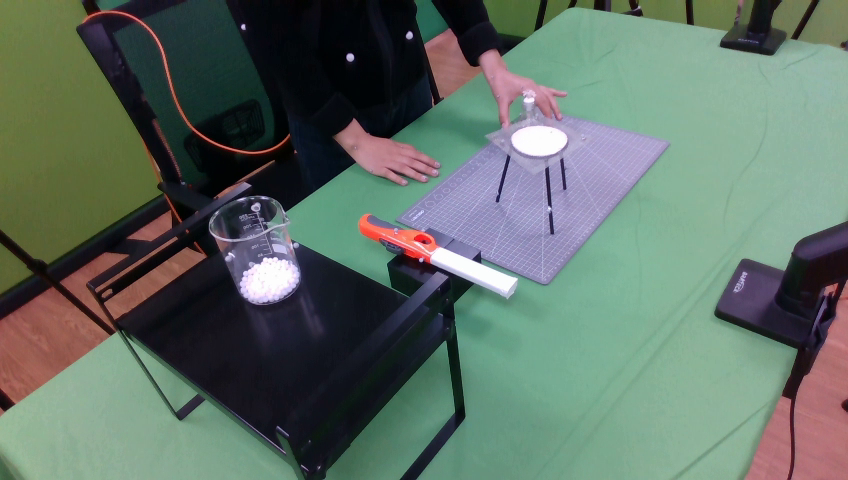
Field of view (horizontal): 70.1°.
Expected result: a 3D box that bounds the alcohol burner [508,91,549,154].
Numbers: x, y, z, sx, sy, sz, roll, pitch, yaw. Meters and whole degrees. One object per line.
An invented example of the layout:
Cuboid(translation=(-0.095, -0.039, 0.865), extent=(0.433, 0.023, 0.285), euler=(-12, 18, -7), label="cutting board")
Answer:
Cuboid(translation=(0.196, -0.223, 1.134), extent=(0.078, 0.119, 0.077), euler=(-6, 39, 5), label="alcohol burner")

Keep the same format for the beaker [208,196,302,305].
Cuboid(translation=(-0.173, 0.014, 0.647), extent=(0.084, 0.101, 0.073), euler=(-1, 41, 8), label="beaker")

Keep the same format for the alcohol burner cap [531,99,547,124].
Cuboid(translation=(0.234, -0.264, 1.231), extent=(0.034, 0.048, 0.033), euler=(-5, 41, 5), label="alcohol burner cap")

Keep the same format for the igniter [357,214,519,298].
Cuboid(translation=(0.009, 0.018, 0.876), extent=(0.274, 0.025, 0.057), euler=(23, 46, 28), label="igniter")

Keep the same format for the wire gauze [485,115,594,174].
Cuboid(translation=(0.177, -0.154, 0.935), extent=(0.122, 0.011, 0.124), euler=(-26, 45, -21), label="wire gauze")

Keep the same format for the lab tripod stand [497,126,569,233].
Cuboid(translation=(0.188, -0.104, 0.978), extent=(0.148, 0.132, 0.147), euler=(-3, 41, 3), label="lab tripod stand")
